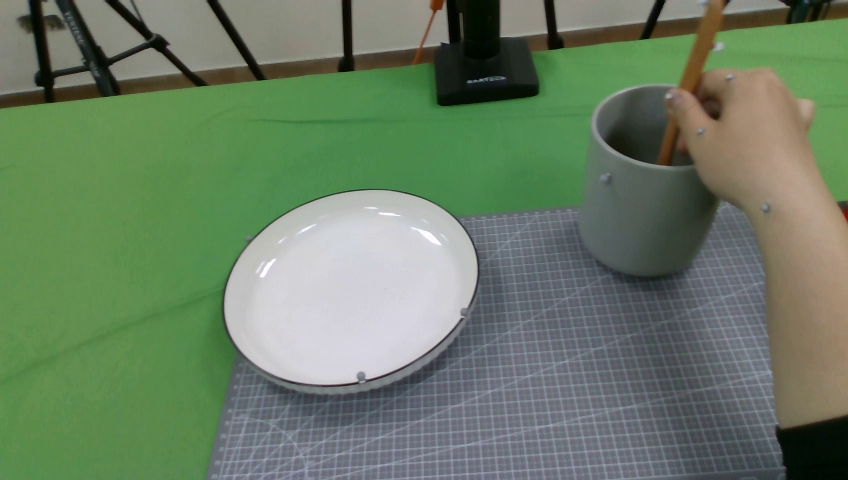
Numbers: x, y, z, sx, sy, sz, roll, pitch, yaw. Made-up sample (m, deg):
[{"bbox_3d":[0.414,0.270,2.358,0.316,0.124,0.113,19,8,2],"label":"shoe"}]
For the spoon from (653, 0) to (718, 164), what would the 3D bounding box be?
[{"bbox_3d":[0.182,-0.077,0.448,0.022,0.195,0.041,-23,43,-29],"label":"spoon"}]

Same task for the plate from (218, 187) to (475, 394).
[{"bbox_3d":[-0.061,0.039,0.501,0.207,0.039,0.205,-3,47,4],"label":"plate"}]

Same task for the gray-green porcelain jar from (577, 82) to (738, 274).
[{"bbox_3d":[0.179,-0.043,0.485,0.106,0.128,0.105,-4,47,4],"label":"gray-green porcelain jar"}]
